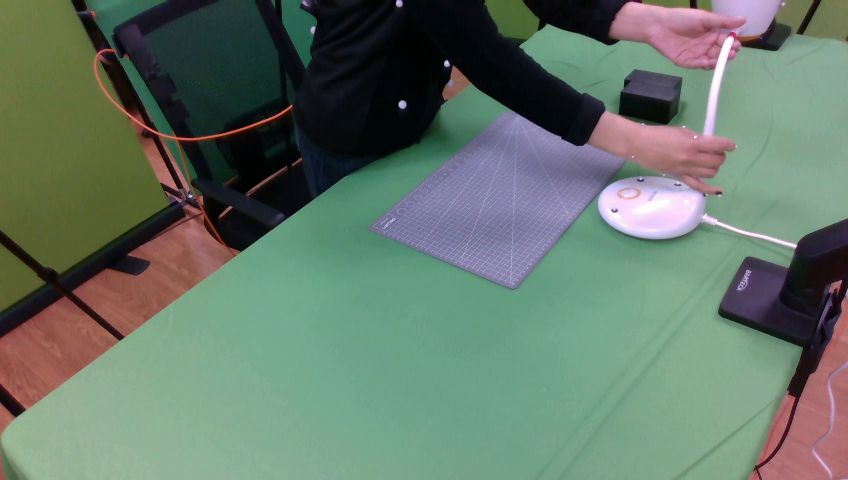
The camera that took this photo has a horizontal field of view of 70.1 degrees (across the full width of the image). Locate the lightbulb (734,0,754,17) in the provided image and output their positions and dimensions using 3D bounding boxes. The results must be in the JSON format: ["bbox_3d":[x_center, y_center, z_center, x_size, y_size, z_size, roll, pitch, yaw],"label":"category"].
[{"bbox_3d":[0.479,-0.387,0.903,0.059,0.108,0.059,-13,36,10],"label":"lightbulb"}]

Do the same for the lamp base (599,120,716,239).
[{"bbox_3d":[0.368,-0.112,0.921,0.178,0.181,0.161,15,44,21],"label":"lamp base"}]

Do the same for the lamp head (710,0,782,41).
[{"bbox_3d":[0.485,-0.364,0.912,0.112,0.123,0.112,-7,34,5],"label":"lamp head"}]
